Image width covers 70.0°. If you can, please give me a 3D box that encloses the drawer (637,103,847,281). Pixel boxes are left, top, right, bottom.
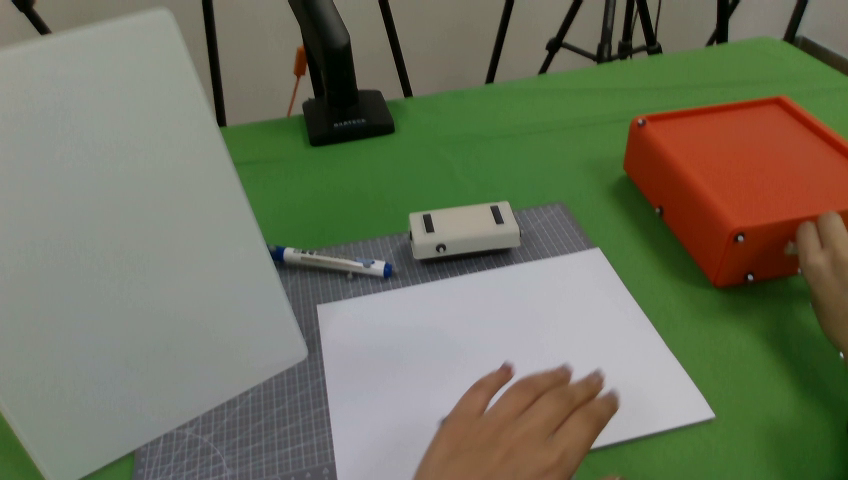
[{"bbox_3d":[0.353,-0.062,0.645,0.195,0.074,0.209,-10,40,-5],"label":"drawer"}]

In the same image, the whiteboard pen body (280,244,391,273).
[{"bbox_3d":[-0.103,0.017,0.628,0.140,0.017,0.017,8,42,9],"label":"whiteboard pen body"}]

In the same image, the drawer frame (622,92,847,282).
[{"bbox_3d":[0.352,-0.064,0.646,0.202,0.083,0.211,-10,40,-6],"label":"drawer frame"}]

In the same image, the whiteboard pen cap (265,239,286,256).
[{"bbox_3d":[-0.161,0.008,0.638,0.033,0.018,0.018,8,41,7],"label":"whiteboard pen cap"}]

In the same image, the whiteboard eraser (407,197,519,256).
[{"bbox_3d":[0.040,-0.012,0.637,0.113,0.042,0.055,-8,39,-5],"label":"whiteboard eraser"}]

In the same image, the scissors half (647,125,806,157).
[{"bbox_3d":[0.363,-0.117,0.736,0.174,0.040,0.013,0,38,28],"label":"scissors half"}]

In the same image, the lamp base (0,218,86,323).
[{"bbox_3d":[-0.458,-0.029,0.592,0.178,0.182,0.160,15,44,25],"label":"lamp base"}]

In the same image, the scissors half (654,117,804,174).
[{"bbox_3d":[0.368,-0.108,0.743,0.174,0.040,0.012,-15,36,40],"label":"scissors half"}]

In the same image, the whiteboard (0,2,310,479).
[{"bbox_3d":[-0.261,-0.005,0.497,0.217,0.308,0.142,-26,26,-23],"label":"whiteboard"}]
